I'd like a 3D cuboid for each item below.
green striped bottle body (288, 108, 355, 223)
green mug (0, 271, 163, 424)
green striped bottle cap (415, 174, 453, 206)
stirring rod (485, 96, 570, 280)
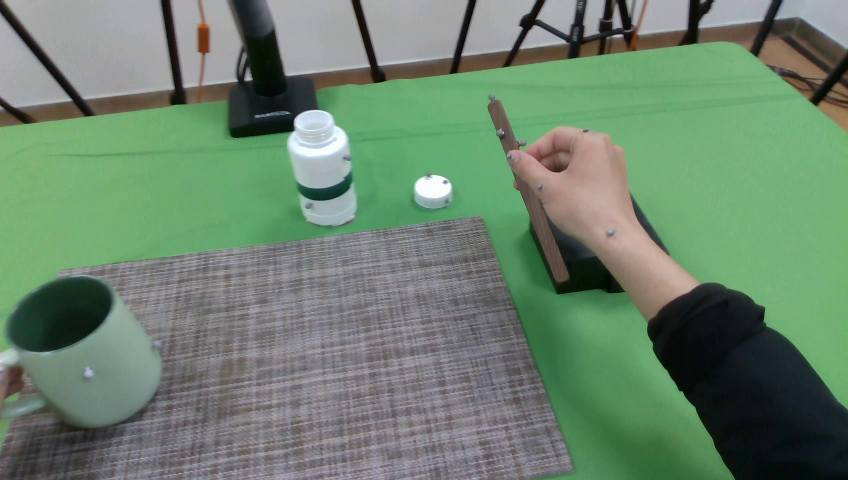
[{"bbox_3d":[-0.110,-0.082,0.657,0.063,0.120,0.062,0,45,1],"label":"green striped bottle body"},{"bbox_3d":[-0.285,0.096,0.485,0.125,0.106,0.091,-29,52,-25],"label":"green mug"},{"bbox_3d":[0.011,-0.058,0.706,0.044,0.020,0.044,-1,41,1],"label":"green striped bottle cap"},{"bbox_3d":[0.090,-0.048,0.532,0.014,0.006,0.175,-25,78,26],"label":"stirring rod"}]
